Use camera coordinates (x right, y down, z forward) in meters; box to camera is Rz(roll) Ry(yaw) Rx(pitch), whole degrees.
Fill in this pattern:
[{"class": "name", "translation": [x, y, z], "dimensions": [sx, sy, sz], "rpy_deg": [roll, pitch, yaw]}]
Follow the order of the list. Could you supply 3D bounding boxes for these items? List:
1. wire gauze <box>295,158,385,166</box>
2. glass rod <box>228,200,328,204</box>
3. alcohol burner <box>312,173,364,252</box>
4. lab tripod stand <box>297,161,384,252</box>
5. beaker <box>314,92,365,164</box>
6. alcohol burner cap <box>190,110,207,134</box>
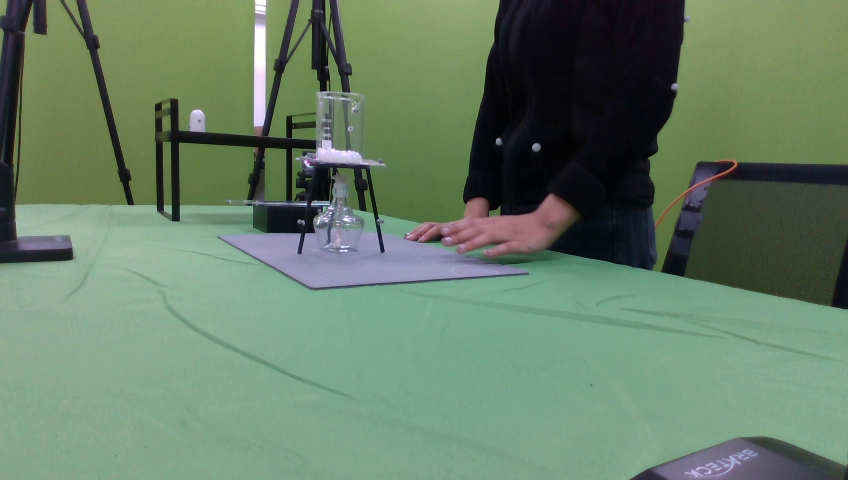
[{"class": "wire gauze", "translation": [-0.128, -0.117, 0.901], "dimensions": [0.125, 0.011, 0.121], "rpy_deg": [-2, 8, -14]}, {"class": "glass rod", "translation": [-0.268, -0.071, 1.148], "dimensions": [0.201, 0.008, 0.008], "rpy_deg": [-1, 8, -28]}, {"class": "alcohol burner", "translation": [-0.129, -0.042, 0.910], "dimensions": [0.078, 0.119, 0.078], "rpy_deg": [4, 9, 0]}, {"class": "lab tripod stand", "translation": [-0.131, -0.051, 0.903], "dimensions": [0.148, 0.131, 0.148], "rpy_deg": [3, 9, 0]}, {"class": "beaker", "translation": [-0.123, -0.163, 0.892], "dimensions": [0.073, 0.100, 0.084], "rpy_deg": [8, 9, 31]}, {"class": "alcohol burner cap", "translation": [-0.463, -0.242, 1.240], "dimensions": [0.034, 0.048, 0.034], "rpy_deg": [1, 7, 0]}]
